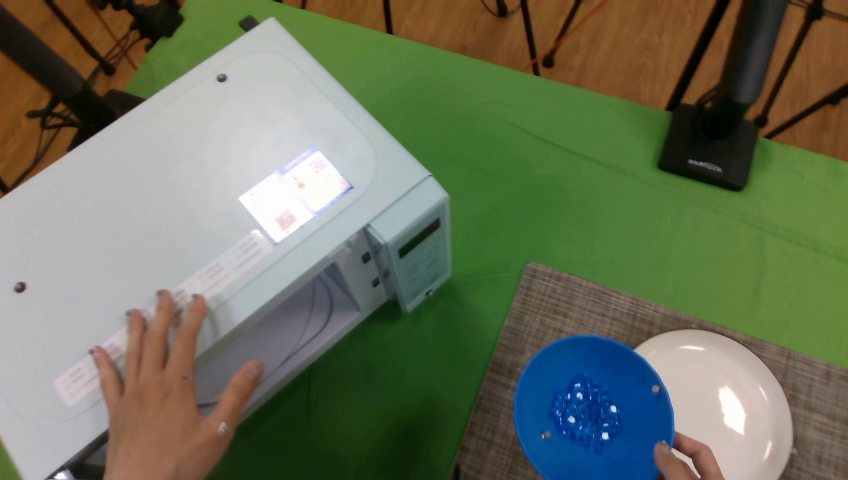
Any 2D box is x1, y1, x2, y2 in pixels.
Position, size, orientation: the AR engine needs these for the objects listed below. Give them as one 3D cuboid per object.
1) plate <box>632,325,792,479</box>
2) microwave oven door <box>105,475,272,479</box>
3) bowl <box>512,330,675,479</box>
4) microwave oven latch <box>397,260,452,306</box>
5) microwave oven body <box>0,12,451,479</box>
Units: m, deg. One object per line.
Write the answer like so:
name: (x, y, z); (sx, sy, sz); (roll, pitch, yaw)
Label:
plate: (0.314, 0.205, 0.709); (0.207, 0.039, 0.206); (-1, 68, 2)
microwave oven door: (-0.132, 0.252, 0.588); (0.356, 0.245, 0.039); (1, 68, 3)
bowl: (0.157, 0.172, 0.598); (0.151, 0.077, 0.150); (0, 68, 0)
microwave oven latch: (0.000, 0.048, 0.774); (0.079, 0.030, 0.030); (-38, 71, -11)
microwave oven body: (-0.236, 0.022, 0.693); (0.441, 0.262, 0.324); (-40, 72, -12)
